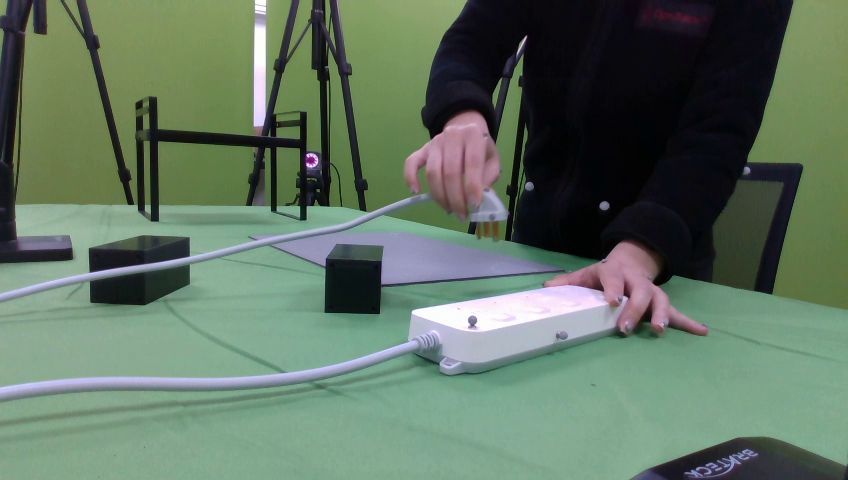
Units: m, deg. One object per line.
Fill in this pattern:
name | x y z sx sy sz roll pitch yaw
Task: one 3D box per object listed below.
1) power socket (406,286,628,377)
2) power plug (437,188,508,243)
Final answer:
power socket | 0.083 0.065 0.485 0.228 0.032 0.072 -4 9 -42
power plug | 0.049 -0.025 0.583 0.035 0.052 0.072 -9 9 -38
